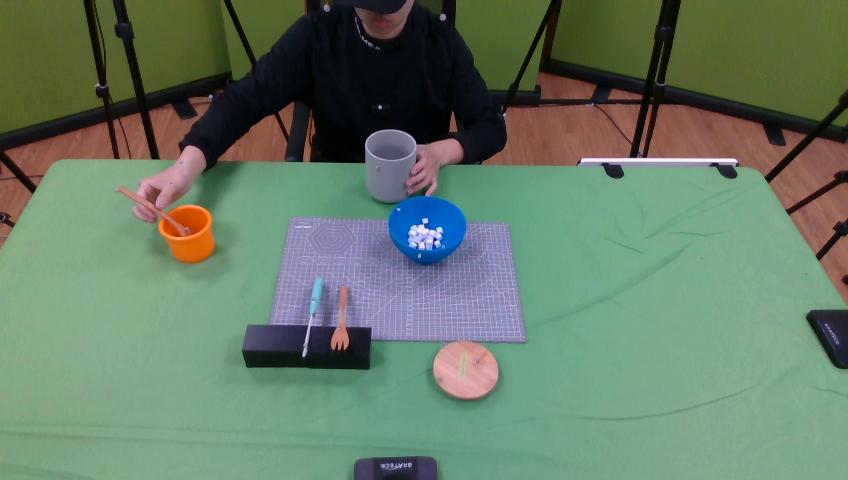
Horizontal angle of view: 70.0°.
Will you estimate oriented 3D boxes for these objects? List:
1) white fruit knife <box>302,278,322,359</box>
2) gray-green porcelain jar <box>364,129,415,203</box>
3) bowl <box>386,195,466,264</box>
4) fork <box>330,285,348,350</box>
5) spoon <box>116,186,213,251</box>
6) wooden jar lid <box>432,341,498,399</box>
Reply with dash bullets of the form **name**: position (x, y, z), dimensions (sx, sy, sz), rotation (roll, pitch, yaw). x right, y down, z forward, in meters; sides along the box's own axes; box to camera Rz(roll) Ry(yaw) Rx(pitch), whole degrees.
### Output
- **white fruit knife**: position (-0.189, 0.126, 1.020), dimensions (0.016, 0.027, 0.206), rotation (0, 33, -2)
- **gray-green porcelain jar**: position (-0.073, -0.150, 1.264), dimensions (0.106, 0.127, 0.105), rotation (2, 46, -2)
- **bowl**: position (0.003, -0.007, 1.162), dimensions (0.151, 0.077, 0.150), rotation (2, 46, -2)
- **fork**: position (-0.140, 0.127, 1.021), dimensions (0.028, 0.019, 0.206), rotation (-5, 28, -2)
- **spoon**: position (-0.474, -0.041, 1.112), dimensions (0.021, 0.195, 0.041), rotation (-31, 31, 29)
- **wooden jar lid**: position (0.067, 0.216, 0.997), dimensions (0.108, 0.021, 0.107), rotation (1, 46, -1)
